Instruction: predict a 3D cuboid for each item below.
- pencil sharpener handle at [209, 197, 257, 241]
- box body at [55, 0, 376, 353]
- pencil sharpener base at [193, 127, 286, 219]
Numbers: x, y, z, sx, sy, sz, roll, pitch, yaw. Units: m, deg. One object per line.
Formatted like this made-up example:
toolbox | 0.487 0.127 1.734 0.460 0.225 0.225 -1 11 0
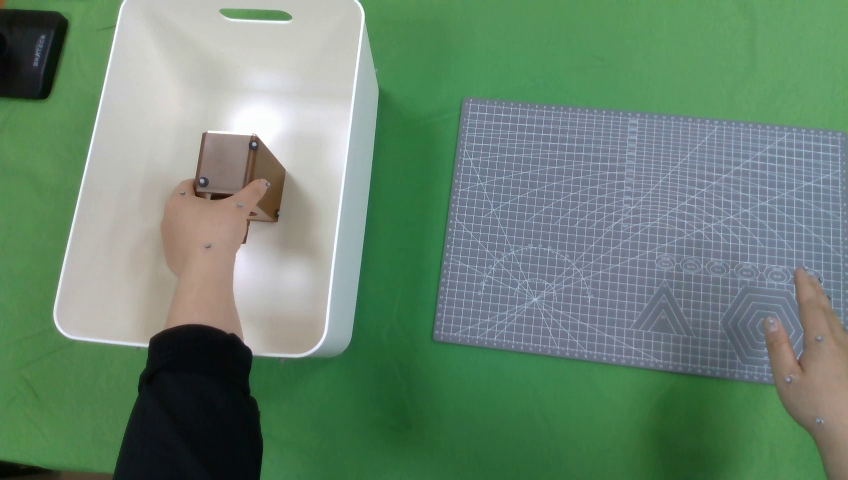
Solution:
pencil sharpener handle | -0.203 -0.022 0.649 0.036 0.068 0.030 -1 75 22
box body | -0.194 -0.064 0.651 0.254 0.161 0.362 4 78 4
pencil sharpener base | -0.202 -0.068 0.674 0.061 0.107 0.076 3 76 6
